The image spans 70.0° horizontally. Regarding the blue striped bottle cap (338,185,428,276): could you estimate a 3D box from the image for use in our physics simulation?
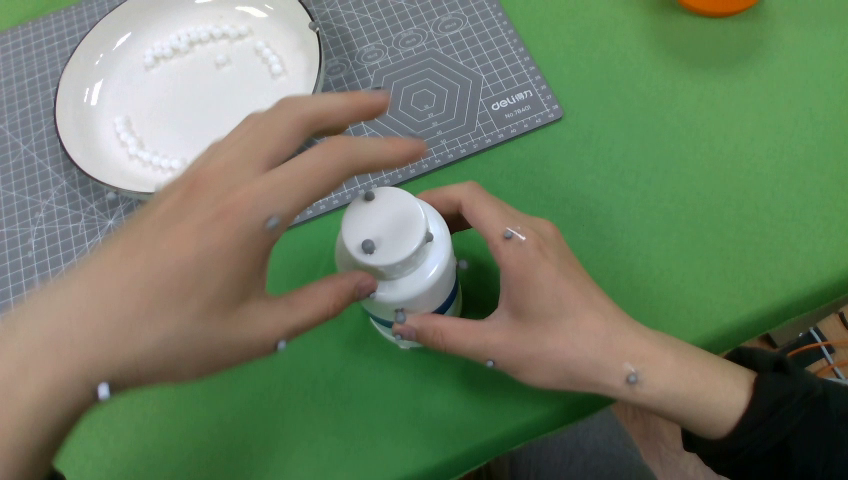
[{"bbox_3d":[-0.020,-0.005,0.302,0.044,0.021,0.044,-2,69,6],"label":"blue striped bottle cap"}]

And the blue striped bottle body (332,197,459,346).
[{"bbox_3d":[-0.014,0.017,0.349,0.063,0.122,0.062,-3,66,6],"label":"blue striped bottle body"}]

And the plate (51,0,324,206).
[{"bbox_3d":[-0.176,-0.115,0.467,0.207,0.039,0.206,-2,66,6],"label":"plate"}]
